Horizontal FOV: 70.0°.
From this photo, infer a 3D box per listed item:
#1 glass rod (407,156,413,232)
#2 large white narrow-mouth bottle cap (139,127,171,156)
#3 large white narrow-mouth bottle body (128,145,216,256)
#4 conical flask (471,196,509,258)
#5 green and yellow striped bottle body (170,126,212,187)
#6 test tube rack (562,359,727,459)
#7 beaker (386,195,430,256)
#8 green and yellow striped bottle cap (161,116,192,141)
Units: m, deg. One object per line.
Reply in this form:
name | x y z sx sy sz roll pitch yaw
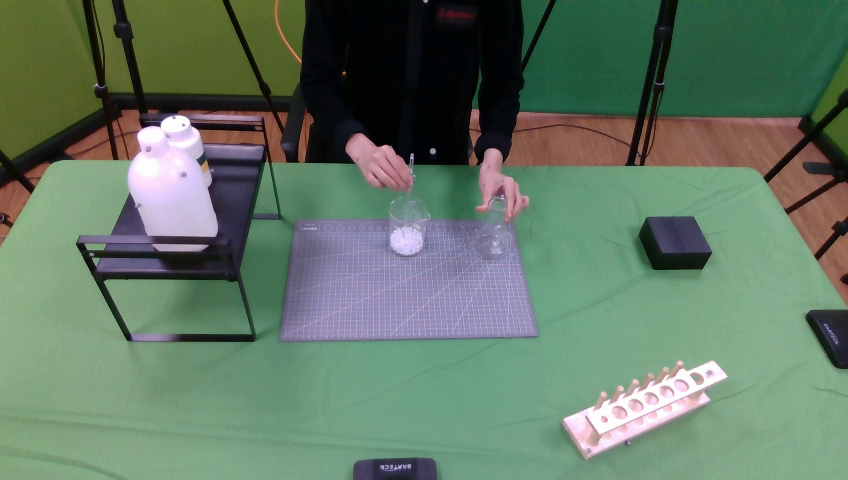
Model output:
glass rod | -0.026 -0.080 1.118 0.008 0.200 0.008 2 50 -2
large white narrow-mouth bottle cap | -0.358 -0.132 0.807 0.038 0.024 0.037 3 47 -3
large white narrow-mouth bottle body | -0.366 -0.073 0.872 0.102 0.195 0.101 3 47 -3
conical flask | 0.133 -0.028 1.161 0.075 0.122 0.075 2 46 -2
green and yellow striped bottle body | -0.389 -0.139 0.984 0.063 0.120 0.063 2 46 -2
test tube rack | 0.341 0.247 0.940 0.243 0.085 0.066 -16 49 -18
beaker | -0.031 -0.024 1.161 0.084 0.101 0.073 18 48 12
green and yellow striped bottle cap | -0.387 -0.174 0.946 0.045 0.020 0.045 3 44 -3
